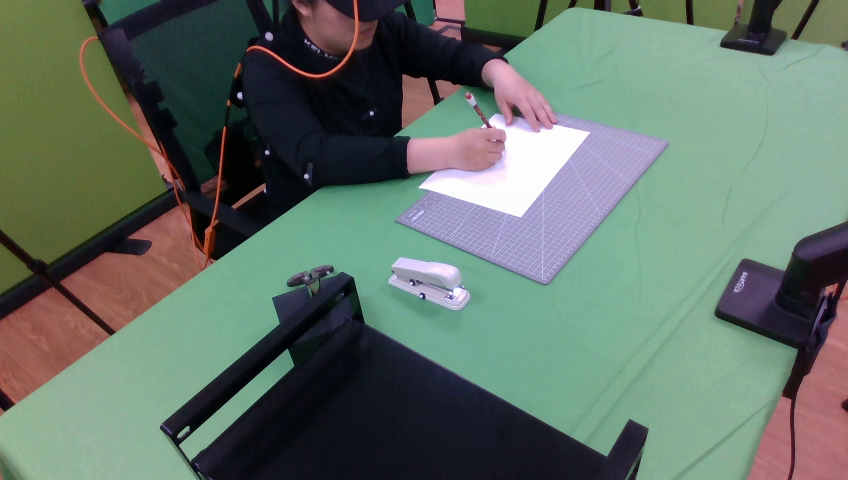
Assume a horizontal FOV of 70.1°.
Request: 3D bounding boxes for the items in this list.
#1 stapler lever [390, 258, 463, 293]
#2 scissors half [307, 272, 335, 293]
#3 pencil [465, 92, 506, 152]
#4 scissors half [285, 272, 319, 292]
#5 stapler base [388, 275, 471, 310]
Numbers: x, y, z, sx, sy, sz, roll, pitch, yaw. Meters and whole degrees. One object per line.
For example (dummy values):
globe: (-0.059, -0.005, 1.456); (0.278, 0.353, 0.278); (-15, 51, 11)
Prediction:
stapler lever: (0.003, 0.046, 0.881); (0.117, 0.040, 0.027); (17, 43, 29)
scissors half: (-0.151, 0.061, 0.872); (0.040, 0.013, 0.175); (-2, 5, -4)
pencil: (0.115, -0.206, 1.083); (0.012, 0.196, 0.012); (-11, 63, 24)
scissors half: (-0.171, 0.063, 0.868); (0.040, 0.013, 0.174); (-9, 6, -21)
stapler base: (0.007, 0.066, 0.897); (0.129, 0.024, 0.041); (17, 43, 29)
